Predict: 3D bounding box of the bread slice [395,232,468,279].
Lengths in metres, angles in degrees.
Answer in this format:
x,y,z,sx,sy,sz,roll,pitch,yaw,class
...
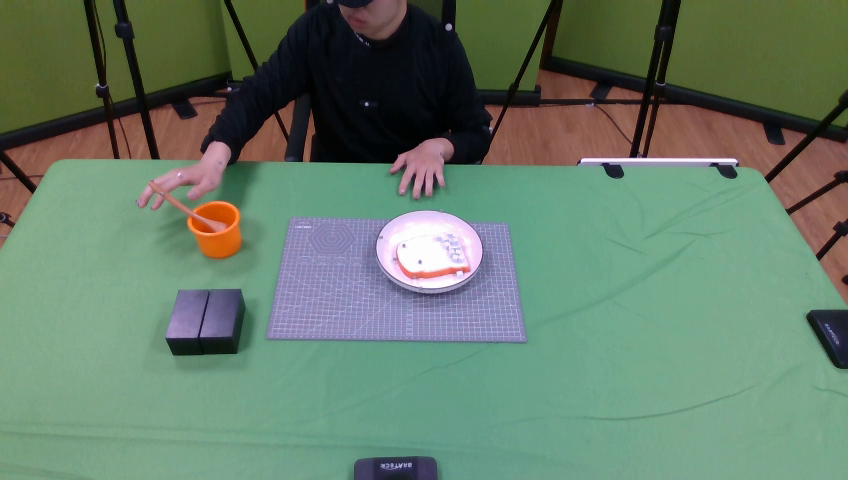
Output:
x,y,z,sx,sy,sz,roll,pitch,yaw,class
0.011,0.030,1.158,0.132,0.019,0.104,-8,47,-14,bread slice

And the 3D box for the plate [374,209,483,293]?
x,y,z,sx,sy,sz,roll,pitch,yaw,class
0.009,0.024,1.160,0.209,0.038,0.208,2,46,-2,plate

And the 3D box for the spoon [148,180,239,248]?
x,y,z,sx,sy,sz,roll,pitch,yaw,class
-0.422,-0.047,1.116,0.195,0.021,0.041,36,42,-26,spoon
